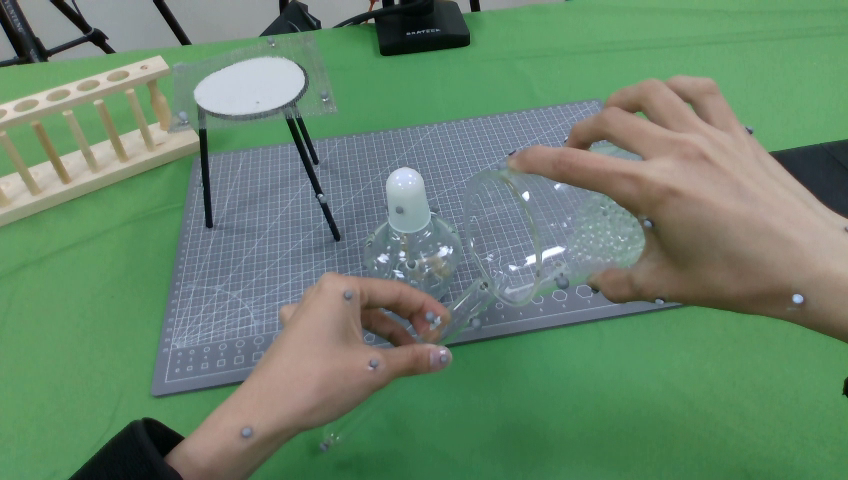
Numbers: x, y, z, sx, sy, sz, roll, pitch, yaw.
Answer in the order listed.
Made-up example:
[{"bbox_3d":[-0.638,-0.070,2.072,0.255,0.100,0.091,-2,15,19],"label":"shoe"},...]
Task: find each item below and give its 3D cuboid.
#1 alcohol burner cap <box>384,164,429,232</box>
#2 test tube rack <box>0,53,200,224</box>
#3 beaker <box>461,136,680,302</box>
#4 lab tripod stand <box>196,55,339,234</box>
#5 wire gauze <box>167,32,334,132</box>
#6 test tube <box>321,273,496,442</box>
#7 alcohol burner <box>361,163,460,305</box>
[{"bbox_3d":[-0.015,-0.033,0.437,0.034,0.048,0.033,-3,47,4],"label":"alcohol burner cap"},{"bbox_3d":[-0.361,-0.099,0.606,0.242,0.086,0.066,-27,49,-21],"label":"test tube rack"},{"bbox_3d":[0.082,-0.013,0.337,0.100,0.084,0.073,-16,53,-21],"label":"beaker"},{"bbox_3d":[-0.137,-0.080,0.531,0.148,0.133,0.147,-2,47,3],"label":"lab tripod stand"},{"bbox_3d":[-0.142,-0.127,0.483,0.125,0.011,0.120,-13,45,-8],"label":"wire gauze"},{"bbox_3d":[-0.013,0.075,0.369,0.150,0.017,0.017,-46,45,16],"label":"test tube"},{"bbox_3d":[-0.011,-0.007,0.462,0.078,0.120,0.077,-2,43,2],"label":"alcohol burner"}]
